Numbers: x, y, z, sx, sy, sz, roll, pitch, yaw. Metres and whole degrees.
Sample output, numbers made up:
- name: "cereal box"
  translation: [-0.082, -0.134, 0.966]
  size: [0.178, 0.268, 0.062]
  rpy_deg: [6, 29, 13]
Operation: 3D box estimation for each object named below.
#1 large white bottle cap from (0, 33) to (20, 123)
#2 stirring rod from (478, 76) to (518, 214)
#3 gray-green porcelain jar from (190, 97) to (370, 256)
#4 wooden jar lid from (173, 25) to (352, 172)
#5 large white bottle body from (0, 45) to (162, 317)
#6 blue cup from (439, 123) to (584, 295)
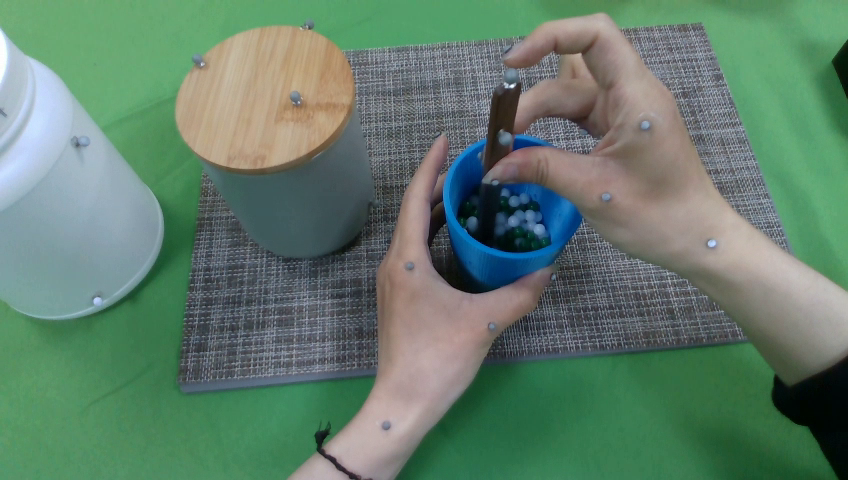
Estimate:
- name: "large white bottle cap"
  translation: [-0.276, -0.079, 0.320]
  size: [0.115, 0.018, 0.114]
  rpy_deg: [-1, 63, 2]
- name: "stirring rod"
  translation: [0.038, -0.035, 0.337]
  size: [0.014, 0.177, 0.006]
  rpy_deg: [-39, 73, -11]
- name: "gray-green porcelain jar"
  translation: [-0.095, -0.055, 0.426]
  size: [0.106, 0.127, 0.105]
  rpy_deg: [-1, 63, 2]
- name: "wooden jar lid"
  translation: [-0.097, -0.085, 0.371]
  size: [0.108, 0.021, 0.107]
  rpy_deg: [-2, 64, 5]
- name: "large white bottle body"
  translation: [-0.272, -0.039, 0.396]
  size: [0.130, 0.186, 0.129]
  rpy_deg: [-1, 62, 2]
- name: "blue cup"
  translation: [0.051, -0.009, 0.399]
  size: [0.092, 0.101, 0.092]
  rpy_deg: [0, 65, 0]
